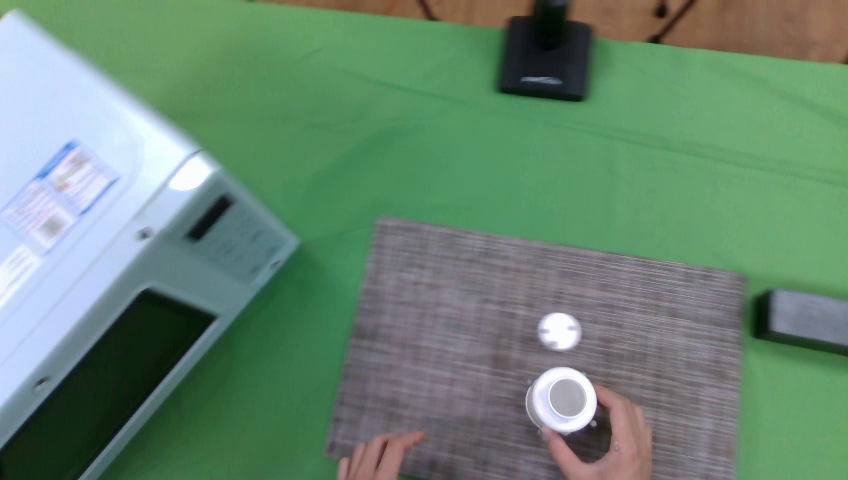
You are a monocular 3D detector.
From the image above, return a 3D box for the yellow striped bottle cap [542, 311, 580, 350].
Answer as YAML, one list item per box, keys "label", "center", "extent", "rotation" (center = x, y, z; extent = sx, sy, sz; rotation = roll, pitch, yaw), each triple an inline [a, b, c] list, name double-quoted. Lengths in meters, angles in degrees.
- label: "yellow striped bottle cap"
  center: [0.161, 0.106, 0.711]
  extent: [0.044, 0.019, 0.044]
  rotation: [-2, 74, 7]

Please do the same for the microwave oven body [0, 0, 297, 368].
- label: "microwave oven body"
  center: [-0.419, 0.033, 0.660]
  extent: [0.324, 0.262, 0.441]
  rotation: [37, 81, 14]

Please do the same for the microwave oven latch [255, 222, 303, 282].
- label: "microwave oven latch"
  center: [-0.184, 0.013, 0.744]
  extent: [0.030, 0.030, 0.079]
  rotation: [39, 82, 14]

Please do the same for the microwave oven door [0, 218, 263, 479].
- label: "microwave oven door"
  center: [-0.334, 0.149, 0.613]
  extent: [0.039, 0.245, 0.355]
  rotation: [37, 80, 15]

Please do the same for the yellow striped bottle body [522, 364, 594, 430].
- label: "yellow striped bottle body"
  center: [0.138, 0.164, 0.629]
  extent: [0.063, 0.121, 0.062]
  rotation: [-1, 72, 3]
